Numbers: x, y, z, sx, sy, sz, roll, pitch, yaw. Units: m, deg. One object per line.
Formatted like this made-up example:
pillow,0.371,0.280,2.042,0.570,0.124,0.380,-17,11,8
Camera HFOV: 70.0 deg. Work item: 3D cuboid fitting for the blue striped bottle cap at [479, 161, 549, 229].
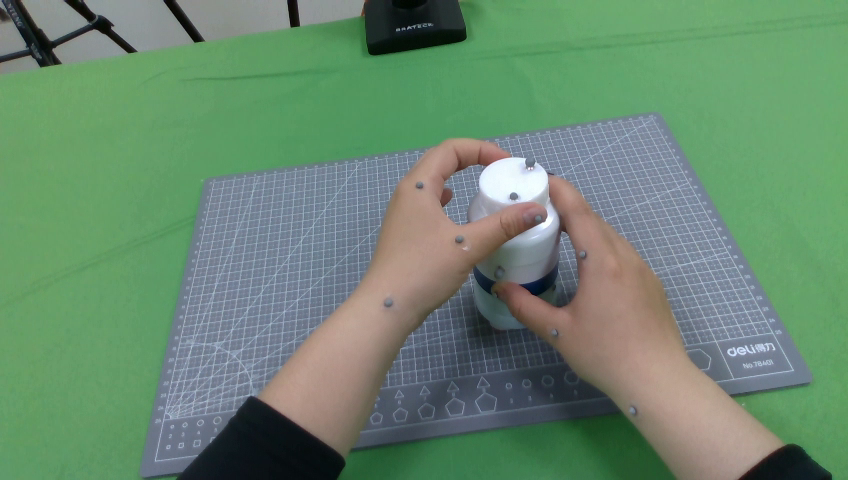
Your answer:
blue striped bottle cap,0.056,-0.029,0.381,0.044,0.021,0.044,-4,47,5

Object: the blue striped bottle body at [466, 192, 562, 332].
blue striped bottle body,0.063,0.006,0.420,0.063,0.122,0.062,-4,48,5
